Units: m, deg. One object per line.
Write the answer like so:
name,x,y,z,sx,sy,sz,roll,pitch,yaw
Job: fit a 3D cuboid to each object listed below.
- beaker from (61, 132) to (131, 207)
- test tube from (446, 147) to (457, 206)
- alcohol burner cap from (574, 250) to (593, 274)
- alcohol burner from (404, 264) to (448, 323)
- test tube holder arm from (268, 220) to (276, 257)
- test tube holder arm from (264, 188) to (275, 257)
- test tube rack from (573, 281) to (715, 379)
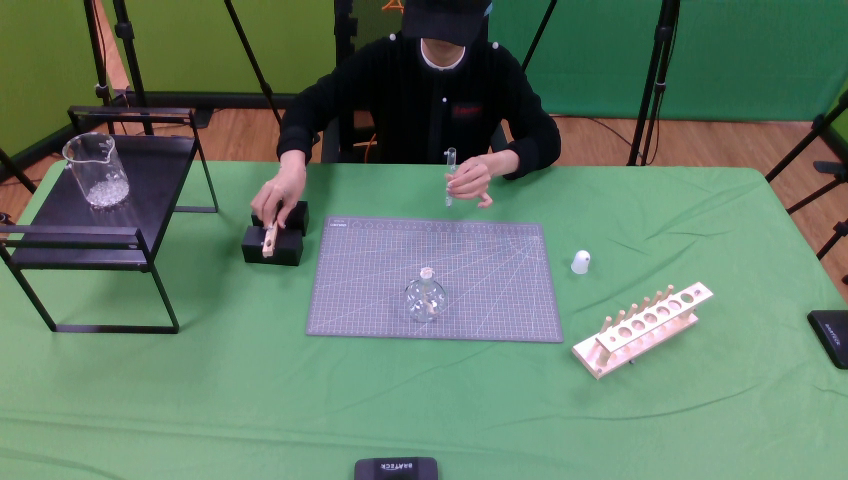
beaker,-0.512,-0.107,0.959,0.083,0.101,0.074,29,51,22
test tube,0.051,-0.116,1.142,0.017,0.151,0.017,0,52,0
alcohol burner cap,0.308,0.039,1.163,0.034,0.048,0.033,1,46,-1
alcohol burner,0.003,0.087,1.042,0.078,0.120,0.077,1,45,0
test tube holder arm,-0.281,-0.004,1.117,0.010,0.015,0.087,13,42,-19
test tube holder arm,-0.292,-0.037,1.146,0.013,0.015,0.177,10,43,-21
test tube rack,0.378,0.140,1.038,0.242,0.085,0.066,-22,51,-23
